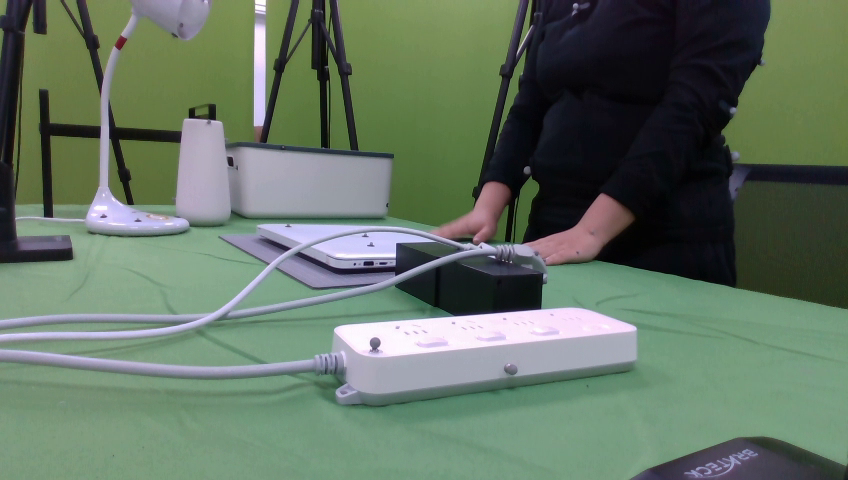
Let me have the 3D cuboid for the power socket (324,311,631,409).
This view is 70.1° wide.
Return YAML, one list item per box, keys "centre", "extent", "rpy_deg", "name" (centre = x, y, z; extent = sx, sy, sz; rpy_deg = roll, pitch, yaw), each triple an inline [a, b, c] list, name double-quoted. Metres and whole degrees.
- centre: [0.042, 0.075, 0.411]
  extent: [0.228, 0.032, 0.072]
  rpy_deg: [-1, 8, -25]
  name: "power socket"

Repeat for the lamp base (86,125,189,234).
- centre: [-0.497, -0.105, 1.027]
  extent: [0.179, 0.180, 0.160]
  rpy_deg: [1, 7, 3]
  name: "lamp base"

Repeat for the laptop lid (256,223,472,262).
- centre: [-0.092, 0.000, 0.912]
  extent: [0.243, 0.013, 0.355]
  rpy_deg: [1, 7, -30]
  name: "laptop lid"

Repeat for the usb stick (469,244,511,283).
- centre: [0.080, 0.029, 0.674]
  extent: [0.059, 0.021, 0.027]
  rpy_deg: [28, 27, -30]
  name: "usb stick"

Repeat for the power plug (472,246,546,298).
- centre: [0.081, 0.029, 0.584]
  extent: [0.072, 0.052, 0.035]
  rpy_deg: [12, 28, 9]
  name: "power plug"

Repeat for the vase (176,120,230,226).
- centre: [-0.424, -0.128, 1.159]
  extent: [0.098, 0.200, 0.098]
  rpy_deg: [2, 9, 0]
  name: "vase"

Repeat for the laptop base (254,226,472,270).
- centre: [-0.095, 0.011, 0.912]
  extent: [0.237, 0.023, 0.352]
  rpy_deg: [3, 6, -32]
  name: "laptop base"

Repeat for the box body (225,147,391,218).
- centre: [-0.289, -0.143, 1.475]
  extent: [0.366, 0.160, 0.253]
  rpy_deg: [-1, 9, -29]
  name: "box body"

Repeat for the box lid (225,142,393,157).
- centre: [-0.286, -0.217, 1.464]
  extent: [0.373, 0.015, 0.262]
  rpy_deg: [-1, 7, -28]
  name: "box lid"

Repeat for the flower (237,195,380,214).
- centre: [-0.284, -0.080, 1.481]
  extent: [0.361, 0.038, 0.044]
  rpy_deg: [5, 34, 7]
  name: "flower"

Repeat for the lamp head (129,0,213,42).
- centre: [-0.423, -0.394, 0.980]
  extent: [0.123, 0.112, 0.112]
  rpy_deg: [20, 7, -3]
  name: "lamp head"
